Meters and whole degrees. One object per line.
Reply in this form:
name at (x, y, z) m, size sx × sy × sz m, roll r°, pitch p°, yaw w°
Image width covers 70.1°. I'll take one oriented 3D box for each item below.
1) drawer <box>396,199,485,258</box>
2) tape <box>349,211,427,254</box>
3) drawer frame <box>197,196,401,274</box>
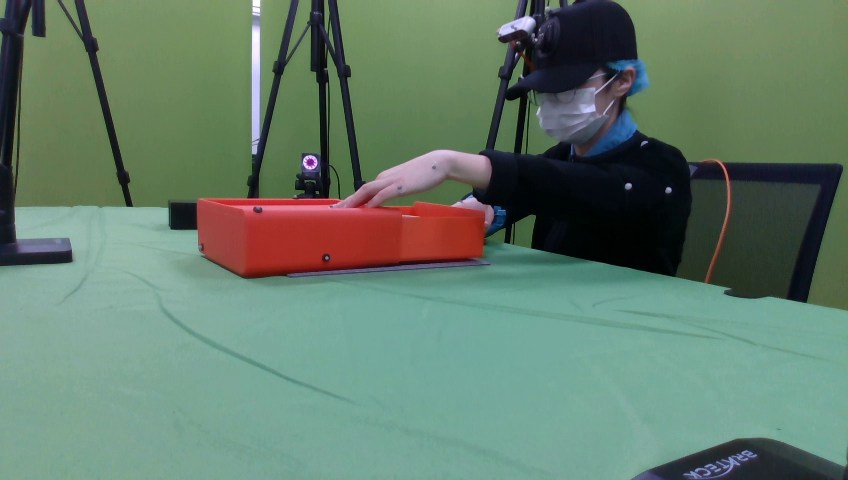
drawer at (-0.049, -0.021, 0.903) m, size 0.213 × 0.073 × 0.193 m, roll -3°, pitch 9°, yaw -34°
tape at (-0.053, -0.012, 0.898) m, size 0.117 × 0.052 × 0.117 m, roll 3°, pitch 7°, yaw 0°
drawer frame at (-0.171, -0.015, 0.819) m, size 0.215 × 0.082 × 0.200 m, roll -4°, pitch 10°, yaw -35°
